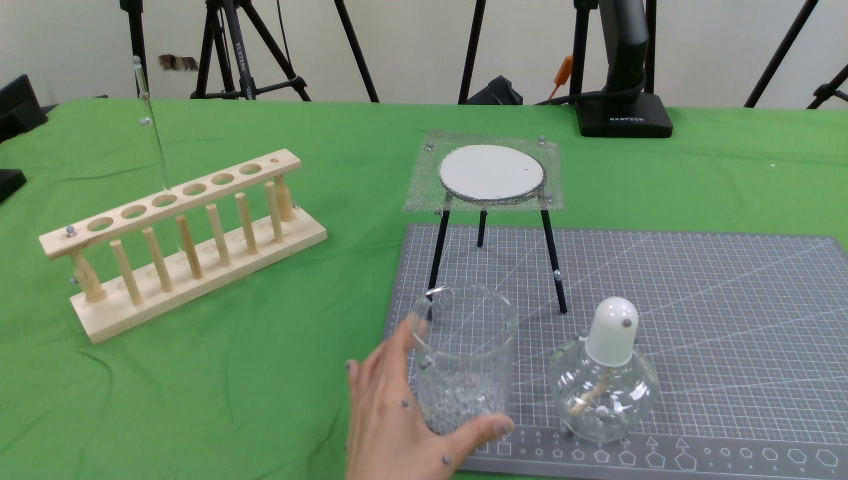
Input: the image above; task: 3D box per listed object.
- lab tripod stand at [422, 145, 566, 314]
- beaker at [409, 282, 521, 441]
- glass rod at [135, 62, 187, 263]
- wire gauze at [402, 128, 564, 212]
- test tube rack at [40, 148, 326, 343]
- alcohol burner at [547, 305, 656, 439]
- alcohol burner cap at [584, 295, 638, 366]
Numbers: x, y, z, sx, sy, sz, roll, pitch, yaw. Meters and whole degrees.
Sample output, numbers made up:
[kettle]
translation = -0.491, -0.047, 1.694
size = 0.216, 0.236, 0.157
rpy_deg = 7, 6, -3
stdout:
[lab tripod stand]
translation = 0.062, -0.006, 0.540
size = 0.148, 0.132, 0.147
rpy_deg = 0, 37, 0
[beaker]
translation = 0.027, 0.090, 0.443
size = 0.074, 0.101, 0.083
rpy_deg = -28, 43, -30
[glass rod]
translation = -0.244, -0.064, 0.565
size = 0.008, 0.201, 0.008
rpy_deg = 0, 30, 0
[wire gauze]
translation = 0.051, -0.059, 0.498
size = 0.121, 0.011, 0.124
rpy_deg = 4, 38, 7
[test tube rack]
translation = -0.222, -0.003, 0.594
size = 0.242, 0.086, 0.066
rpy_deg = -27, 44, -29
[alcohol burner]
translation = 0.128, 0.087, 0.431
size = 0.078, 0.120, 0.077
rpy_deg = -1, 40, 1
[alcohol burner cap]
translation = 0.128, 0.058, 0.409
size = 0.034, 0.048, 0.033
rpy_deg = 1, 39, 0
